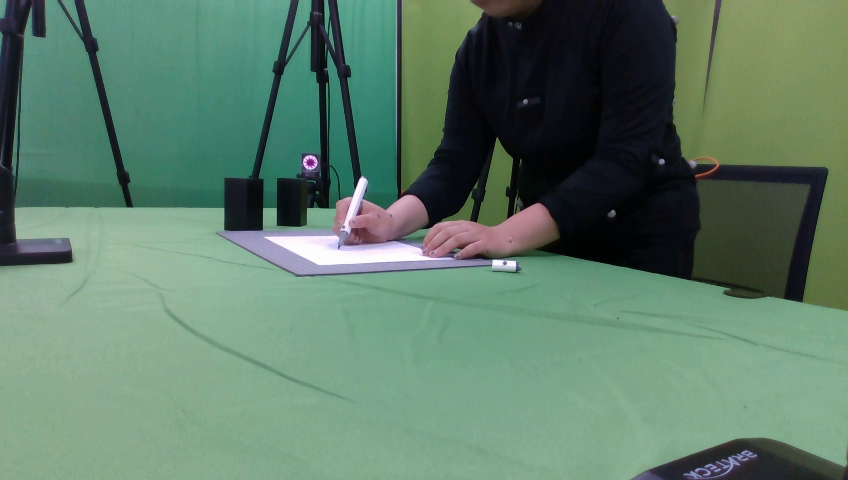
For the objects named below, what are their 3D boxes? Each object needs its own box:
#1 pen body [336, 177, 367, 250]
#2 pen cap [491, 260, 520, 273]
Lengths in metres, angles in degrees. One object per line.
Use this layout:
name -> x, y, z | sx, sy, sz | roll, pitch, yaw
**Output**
pen body -> -0.118, -0.043, 0.978 | 0.017, 0.144, 0.017 | 12, -32, 8
pen cap -> 0.110, 0.036, 0.813 | 0.038, 0.017, 0.017 | 3, 7, 7
